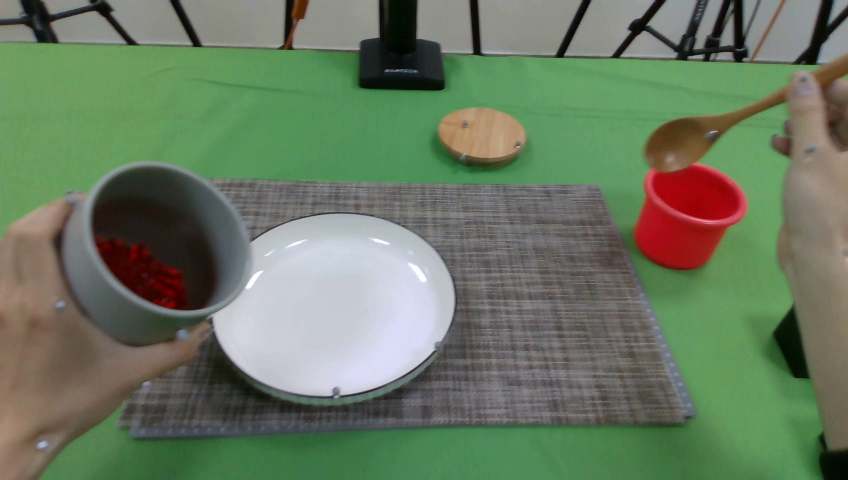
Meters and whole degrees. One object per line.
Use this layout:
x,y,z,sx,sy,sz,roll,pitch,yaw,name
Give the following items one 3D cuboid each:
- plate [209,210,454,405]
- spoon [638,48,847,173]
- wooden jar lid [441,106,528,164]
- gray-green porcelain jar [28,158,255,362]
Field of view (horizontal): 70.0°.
-0.078,0.057,0.533,0.208,0.039,0.205,3,45,-2,plate
0.236,-0.096,0.432,0.021,0.193,0.041,-29,91,-34,spoon
0.074,-0.129,0.748,0.108,0.021,0.107,3,46,-3,wooden jar lid
-0.194,0.020,0.410,0.107,0.126,0.105,29,47,-36,gray-green porcelain jar
